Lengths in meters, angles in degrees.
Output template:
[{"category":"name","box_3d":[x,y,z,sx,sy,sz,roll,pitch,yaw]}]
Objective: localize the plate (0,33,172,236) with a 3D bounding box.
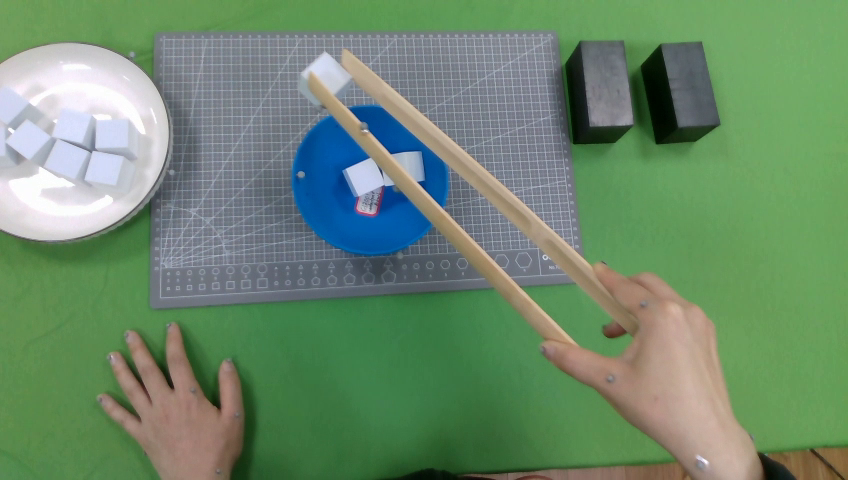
[{"category":"plate","box_3d":[-0.357,-0.103,0.606,0.208,0.039,0.206,1,79,-5]}]

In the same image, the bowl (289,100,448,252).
[{"category":"bowl","box_3d":[-0.056,-0.055,0.610,0.152,0.077,0.150,1,79,-7]}]

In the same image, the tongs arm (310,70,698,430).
[{"category":"tongs arm","box_3d":[0.044,-0.006,0.460,0.051,0.027,0.382,-32,71,-29]}]

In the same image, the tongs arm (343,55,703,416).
[{"category":"tongs arm","box_3d":[0.061,-0.019,0.472,0.028,0.028,0.385,-35,72,-33]}]
